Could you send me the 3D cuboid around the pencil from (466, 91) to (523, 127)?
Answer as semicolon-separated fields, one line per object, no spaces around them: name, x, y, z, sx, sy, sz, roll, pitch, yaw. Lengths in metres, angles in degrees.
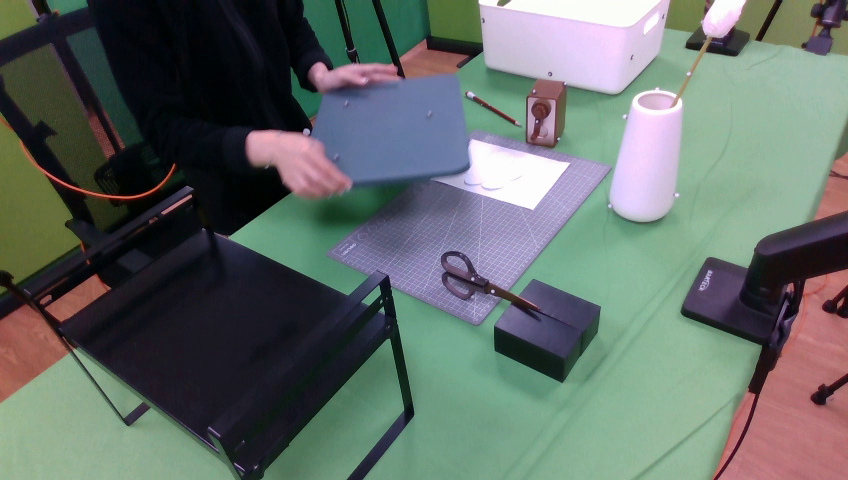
pencil;0.149;-0.282;1.296;0.012;0.012;0.192;-26;45;-21

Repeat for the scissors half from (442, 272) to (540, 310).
scissors half;0.089;0.074;0.832;0.013;0.040;0.173;-23;22;-38

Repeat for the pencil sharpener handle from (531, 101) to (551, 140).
pencil sharpener handle;0.211;-0.220;1.118;0.036;0.068;0.030;17;46;17

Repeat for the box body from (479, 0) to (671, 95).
box body;0.339;-0.480;1.381;0.361;0.161;0.255;22;48;30

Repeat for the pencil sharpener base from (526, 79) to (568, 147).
pencil sharpener base;0.235;-0.242;1.160;0.061;0.107;0.077;12;45;21

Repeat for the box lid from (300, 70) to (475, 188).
box lid;-0.057;-0.197;1.014;0.263;0.015;0.369;-7;36;3

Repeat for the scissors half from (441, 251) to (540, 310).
scissors half;0.087;0.056;0.824;0.013;0.040;0.173;-29;43;-36

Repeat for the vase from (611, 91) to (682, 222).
vase;0.348;-0.125;0.935;0.098;0.201;0.097;-3;40;3

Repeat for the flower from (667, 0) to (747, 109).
flower;0.354;-0.187;0.879;0.038;0.362;0.044;31;48;14
